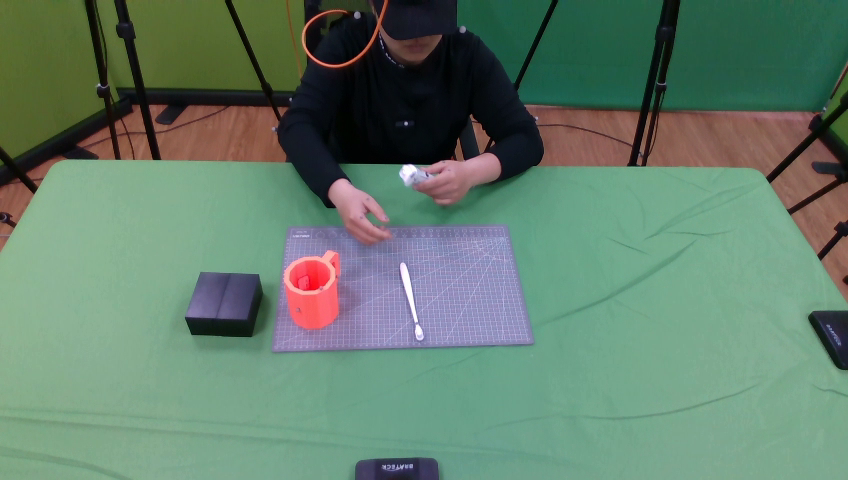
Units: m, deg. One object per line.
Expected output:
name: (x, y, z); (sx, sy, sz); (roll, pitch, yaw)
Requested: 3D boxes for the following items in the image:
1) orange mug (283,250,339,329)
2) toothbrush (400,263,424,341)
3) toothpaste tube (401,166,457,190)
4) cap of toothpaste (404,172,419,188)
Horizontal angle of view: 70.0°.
orange mug: (-0.186, 0.079, 1.052); (0.083, 0.101, 0.126); (20, 52, 15)
toothbrush: (-0.024, 0.106, 1.093); (0.014, 0.017, 0.180); (-17, 46, 1)
toothpaste tube: (0.007, -0.119, 1.210); (0.055, 0.034, 0.166); (19, 5, 30)
cap of toothpaste: (-0.024, -0.114, 1.125); (0.011, 0.037, 0.037); (40, 54, 10)
